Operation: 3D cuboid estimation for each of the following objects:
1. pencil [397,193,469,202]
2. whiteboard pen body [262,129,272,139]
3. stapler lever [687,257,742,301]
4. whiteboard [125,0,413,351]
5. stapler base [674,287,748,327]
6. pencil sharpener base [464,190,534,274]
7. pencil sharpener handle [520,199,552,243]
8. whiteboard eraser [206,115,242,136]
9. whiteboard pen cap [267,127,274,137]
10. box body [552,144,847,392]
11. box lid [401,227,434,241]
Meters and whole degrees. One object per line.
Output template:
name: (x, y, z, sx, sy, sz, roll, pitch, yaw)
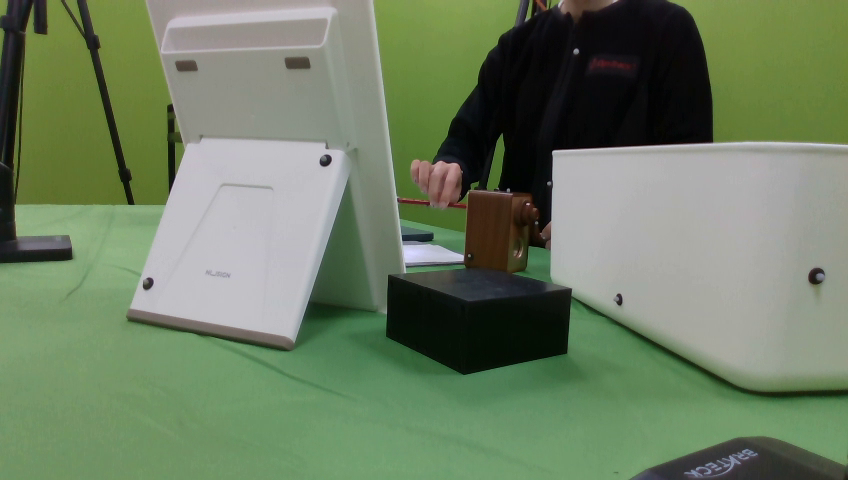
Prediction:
pencil: (0.016, -0.063, 0.881, 0.193, 0.012, 0.012, 0, 5, 36)
whiteboard pen body: (-0.361, -0.245, 1.393, 0.017, 0.017, 0.140, 0, 5, -20)
stapler lever: (0.283, 0.035, 0.585, 0.026, 0.040, 0.119, 11, 8, 37)
whiteboard: (-0.151, -0.050, 0.471, 0.216, 0.305, 0.144, 6, 27, 24)
stapler base: (0.281, 0.061, 0.586, 0.041, 0.024, 0.131, 11, 9, 37)
pencil sharpener base: (0.103, -0.012, 0.812, 0.076, 0.107, 0.061, 8, 8, 36)
pencil sharpener handle: (0.151, -0.023, 0.789, 0.030, 0.068, 0.036, 8, 51, 36)
whiteboard eraser: (-0.438, -0.249, 1.320, 0.056, 0.042, 0.112, -3, 9, -30)
whiteboard pen cap: (-0.340, -0.239, 1.337, 0.018, 0.018, 0.033, 1, -1, -15)
box body: (0.290, 0.002, 0.549, 0.255, 0.160, 0.363, 2, 7, -10)
box lid: (-0.196, -0.015, 1.105, 0.373, 0.015, 0.262, -1, 7, -32)
